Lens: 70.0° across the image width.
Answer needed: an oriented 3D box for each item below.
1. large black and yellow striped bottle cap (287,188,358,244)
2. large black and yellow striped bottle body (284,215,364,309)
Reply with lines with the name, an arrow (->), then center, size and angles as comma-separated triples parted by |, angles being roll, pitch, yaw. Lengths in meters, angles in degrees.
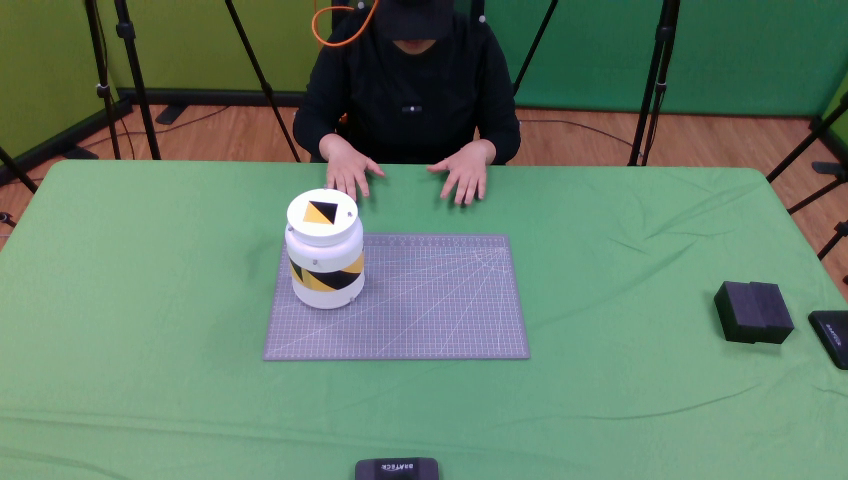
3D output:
large black and yellow striped bottle cap -> -0.166, -0.041, 0.991 | 0.115, 0.019, 0.114 | 2, 46, -1
large black and yellow striped bottle body -> -0.171, 0.017, 1.052 | 0.131, 0.185, 0.130 | 2, 46, -2
